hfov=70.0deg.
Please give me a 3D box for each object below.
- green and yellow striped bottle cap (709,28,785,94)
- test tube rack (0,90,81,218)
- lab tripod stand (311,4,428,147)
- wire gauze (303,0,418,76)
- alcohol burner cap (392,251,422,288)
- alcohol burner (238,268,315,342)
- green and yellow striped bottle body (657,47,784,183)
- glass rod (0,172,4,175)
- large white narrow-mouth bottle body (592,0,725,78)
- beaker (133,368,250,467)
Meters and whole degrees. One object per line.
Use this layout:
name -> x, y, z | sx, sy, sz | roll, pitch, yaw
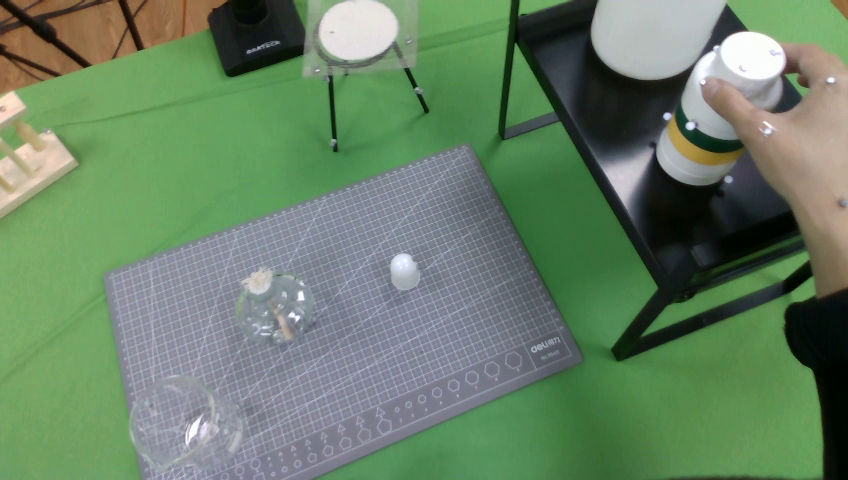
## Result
green and yellow striped bottle cap -> 0.222, -0.124, 0.417 | 0.045, 0.020, 0.045 | -1, 65, 1
test tube rack -> -0.540, -0.059, 0.698 | 0.242, 0.086, 0.066 | -41, 69, -15
lab tripod stand -> -0.071, -0.198, 0.715 | 0.148, 0.132, 0.147 | -1, 63, 1
wire gauze -> -0.067, -0.231, 0.656 | 0.121, 0.011, 0.124 | -1, 66, 0
alcohol burner cap -> -0.020, 0.029, 0.654 | 0.034, 0.048, 0.033 | -1, 64, 2
alcohol burner -> -0.151, 0.059, 0.606 | 0.078, 0.120, 0.077 | 0, 63, 1
green and yellow striped bottle body -> 0.226, -0.100, 0.463 | 0.063, 0.120, 0.062 | -1, 64, 3
glass rod -> -0.535, -0.126, 0.655 | 0.008, 0.201, 0.008 | -5, 60, 9
large white narrow-mouth bottle body -> 0.200, -0.227, 0.484 | 0.102, 0.196, 0.101 | -2, 65, 4
beaker -> -0.211, 0.172, 0.564 | 0.074, 0.101, 0.083 | 5, 65, 6
